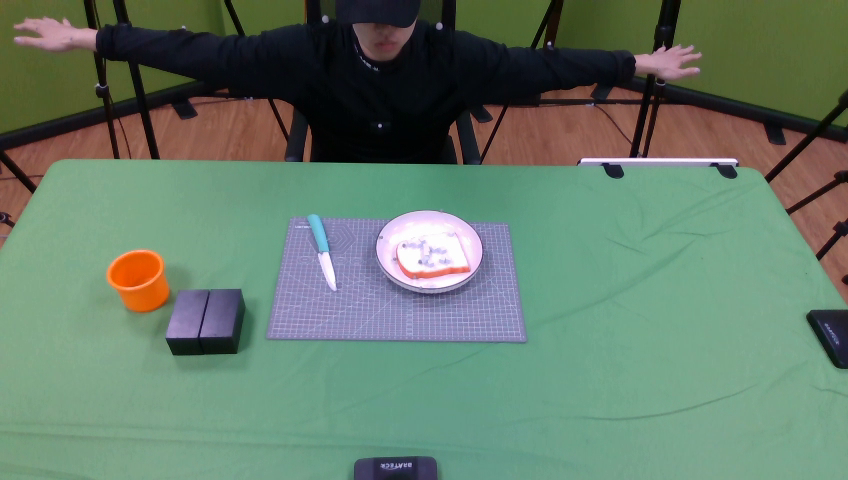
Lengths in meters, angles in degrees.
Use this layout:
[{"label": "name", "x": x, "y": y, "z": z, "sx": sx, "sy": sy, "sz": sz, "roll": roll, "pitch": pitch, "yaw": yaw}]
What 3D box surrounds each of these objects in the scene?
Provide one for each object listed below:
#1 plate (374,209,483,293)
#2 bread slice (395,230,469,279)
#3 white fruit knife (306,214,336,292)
[{"label": "plate", "x": 0.009, "y": 0.024, "z": 1.160, "sx": 0.209, "sy": 0.038, "sz": 0.208, "roll": 2, "pitch": 46, "yaw": -2}, {"label": "bread slice", "x": 0.011, "y": 0.029, "z": 1.158, "sx": 0.132, "sy": 0.019, "sz": 0.104, "roll": -9, "pitch": 48, "yaw": -14}, {"label": "white fruit knife", "x": -0.195, "y": 0.021, "z": 1.164, "sx": 0.027, "sy": 0.016, "sz": 0.206, "roll": -30, "pitch": 51, "yaw": 8}]
